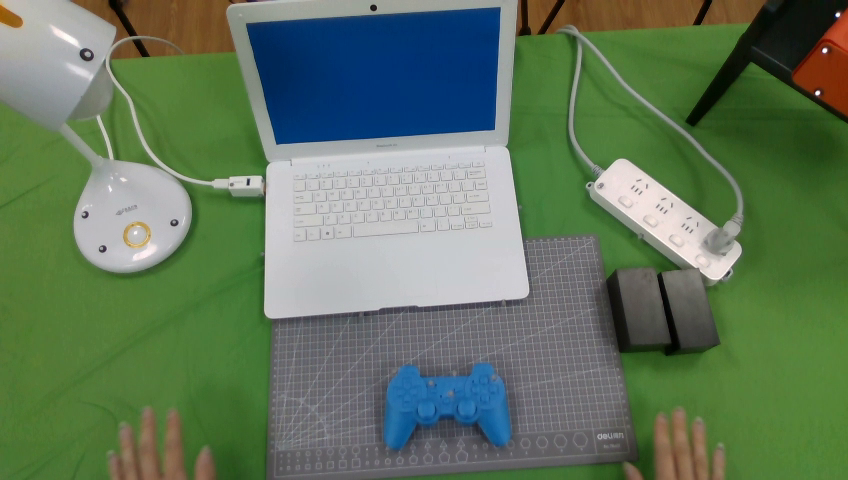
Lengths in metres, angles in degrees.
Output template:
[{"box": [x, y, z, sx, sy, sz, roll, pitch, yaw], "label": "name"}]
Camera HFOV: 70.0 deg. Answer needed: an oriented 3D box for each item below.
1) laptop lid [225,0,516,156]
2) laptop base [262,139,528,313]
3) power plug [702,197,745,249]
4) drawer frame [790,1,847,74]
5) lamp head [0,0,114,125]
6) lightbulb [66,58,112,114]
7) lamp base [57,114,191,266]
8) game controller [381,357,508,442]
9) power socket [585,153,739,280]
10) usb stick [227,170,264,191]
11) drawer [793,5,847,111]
[{"box": [-0.059, -0.216, 0.802, 0.357, 0.244, 0.013, -6, 44, -1], "label": "laptop lid"}, {"box": [-0.045, -0.024, 0.842, 0.354, 0.023, 0.234, -4, 71, -2], "label": "laptop base"}, {"box": [0.402, -0.016, 0.805, 0.072, 0.053, 0.035, -35, 72, -14], "label": "power plug"}, {"box": [0.572, -0.222, 0.689, 0.200, 0.083, 0.213, 40, 74, 14], "label": "drawer frame"}, {"box": [-0.345, -0.173, 0.507, 0.124, 0.112, 0.112, 30, 65, -34], "label": "lamp head"}, {"box": [-0.323, -0.155, 0.520, 0.059, 0.109, 0.059, -23, 46, 26], "label": "lightbulb"}, {"box": [-0.413, -0.077, 0.774, 0.160, 0.181, 0.178, -33, 70, -12], "label": "lamp base"}, {"box": [0.025, 0.193, 0.740, 0.155, 0.052, 0.096, -1, 64, -1], "label": "game controller"}, {"box": [0.329, -0.035, 0.837, 0.225, 0.033, 0.072, 42, 75, 15], "label": "power socket"}, {"box": [-0.243, -0.084, 0.852, 0.059, 0.027, 0.021, 0, 63, -3], "label": "usb stick"}, {"box": [0.570, -0.217, 0.689, 0.193, 0.074, 0.211, 40, 74, 15], "label": "drawer"}]
